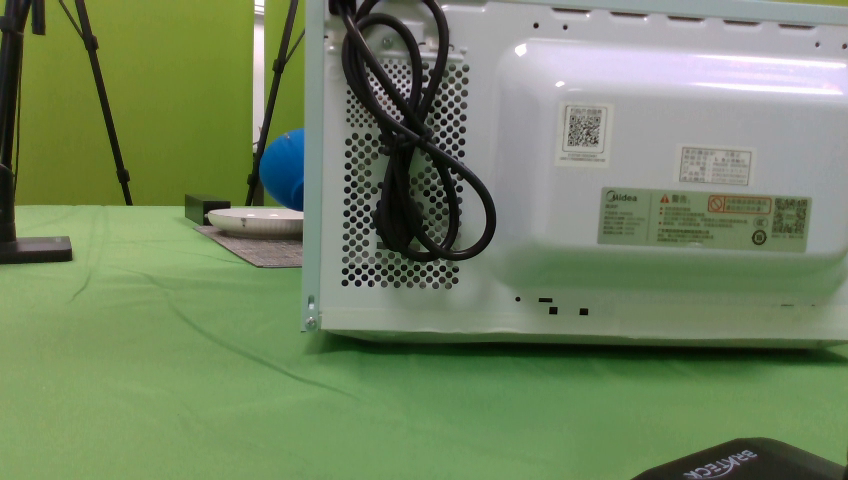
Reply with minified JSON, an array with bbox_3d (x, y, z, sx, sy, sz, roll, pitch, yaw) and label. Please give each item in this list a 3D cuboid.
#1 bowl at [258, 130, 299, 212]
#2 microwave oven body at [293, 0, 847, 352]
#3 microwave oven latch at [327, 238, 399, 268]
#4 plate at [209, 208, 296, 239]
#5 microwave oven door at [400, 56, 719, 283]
[{"bbox_3d":[-0.181,-0.093,0.964,0.152,0.151,0.076,-1,43,-26],"label":"bowl"},{"bbox_3d":[0.122,-0.055,0.550,0.442,0.260,0.325,3,7,-5],"label":"microwave oven body"},{"bbox_3d":[-0.069,0.015,0.694,0.079,0.029,0.030,3,7,-3],"label":"microwave oven latch"},{"bbox_3d":[-0.271,-0.029,1.074,0.208,0.039,0.207,3,7,0],"label":"plate"},{"bbox_3d":[0.155,-0.078,0.698,0.356,0.243,0.039,2,8,-5],"label":"microwave oven door"}]
